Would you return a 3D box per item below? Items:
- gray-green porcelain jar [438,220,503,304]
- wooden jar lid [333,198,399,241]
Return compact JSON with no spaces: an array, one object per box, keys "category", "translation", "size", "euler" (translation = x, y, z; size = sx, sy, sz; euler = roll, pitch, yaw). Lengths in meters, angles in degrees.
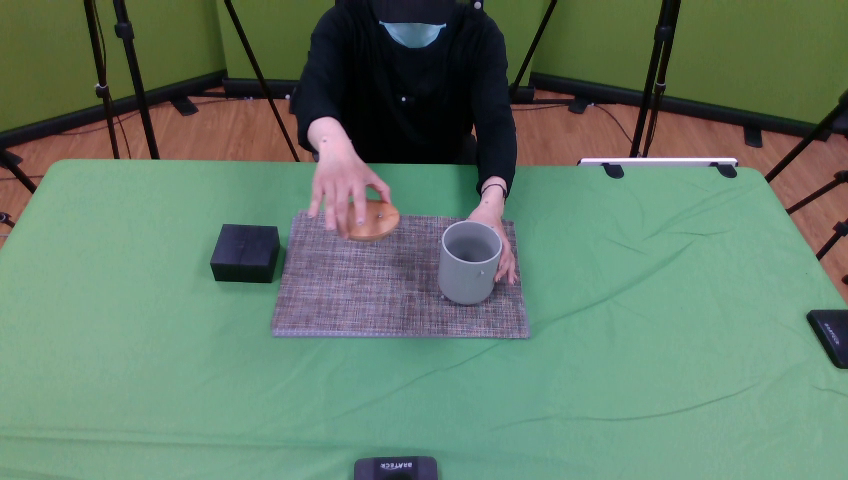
[{"category":"gray-green porcelain jar","translation":[0.079,0.044,1.080],"size":[0.106,0.127,0.105],"euler":[2,46,-2]},{"category":"wooden jar lid","translation":[-0.095,-0.032,1.001],"size":[0.108,0.021,0.108],"euler":[-1,36,1]}]
